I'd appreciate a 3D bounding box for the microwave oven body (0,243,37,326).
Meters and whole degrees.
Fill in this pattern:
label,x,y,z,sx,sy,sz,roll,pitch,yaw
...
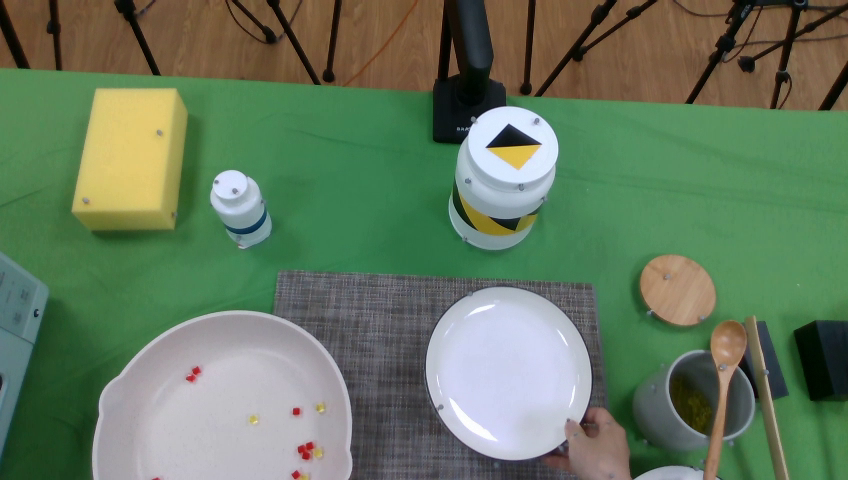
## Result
label,x,y,z,sx,sy,sz,roll,pitch,yaw
microwave oven body,-0.654,0.189,0.603,0.326,0.262,0.438,3,66,-3

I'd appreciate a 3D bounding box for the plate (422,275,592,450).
label,x,y,z,sx,sy,sz,roll,pitch,yaw
plate,0.099,0.146,0.739,0.209,0.038,0.208,2,72,-6

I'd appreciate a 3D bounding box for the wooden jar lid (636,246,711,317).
label,x,y,z,sx,sy,sz,roll,pitch,yaw
wooden jar lid,0.357,0.061,0.873,0.108,0.021,0.107,1,67,-3

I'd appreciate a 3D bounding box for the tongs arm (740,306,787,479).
label,x,y,z,sx,sy,sz,roll,pitch,yaw
tongs arm,0.452,0.272,0.746,0.051,0.026,0.382,-2,76,-7

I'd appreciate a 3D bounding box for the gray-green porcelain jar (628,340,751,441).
label,x,y,z,sx,sy,sz,roll,pitch,yaw
gray-green porcelain jar,0.321,0.191,0.754,0.106,0.127,0.105,2,66,-3

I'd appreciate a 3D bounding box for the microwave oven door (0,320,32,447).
label,x,y,z,sx,sy,sz,roll,pitch,yaw
microwave oven door,-0.510,0.233,0.590,0.039,0.245,0.353,2,66,-2

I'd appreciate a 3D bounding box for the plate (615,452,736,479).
label,x,y,z,sx,sy,sz,roll,pitch,yaw
plate,0.308,0.364,0.726,0.208,0.039,0.206,2,66,-3

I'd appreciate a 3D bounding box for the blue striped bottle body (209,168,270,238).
label,x,y,z,sx,sy,sz,roll,pitch,yaw
blue striped bottle body,-0.251,-0.055,0.823,0.063,0.121,0.062,2,65,-3

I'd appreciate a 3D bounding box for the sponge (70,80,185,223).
label,x,y,z,sx,sy,sz,roll,pitch,yaw
sponge,-0.422,-0.129,0.875,0.118,0.061,0.205,-2,67,-6

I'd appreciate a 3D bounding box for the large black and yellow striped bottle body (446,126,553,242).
label,x,y,z,sx,sy,sz,roll,pitch,yaw
large black and yellow striped bottle body,0.102,-0.090,0.831,0.131,0.185,0.129,2,65,-3

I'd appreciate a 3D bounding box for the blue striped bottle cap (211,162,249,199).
label,x,y,z,sx,sy,sz,roll,pitch,yaw
blue striped bottle cap,-0.249,-0.077,0.776,0.044,0.021,0.044,2,68,-4

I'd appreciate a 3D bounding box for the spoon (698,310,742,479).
label,x,y,z,sx,sy,sz,roll,pitch,yaw
spoon,0.330,0.173,0.686,0.041,0.022,0.192,18,70,1

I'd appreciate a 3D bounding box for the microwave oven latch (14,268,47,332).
label,x,y,z,sx,sy,sz,roll,pitch,yaw
microwave oven latch,-0.508,0.075,0.771,0.030,0.030,0.078,5,66,-2

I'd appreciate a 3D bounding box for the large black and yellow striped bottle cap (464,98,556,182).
label,x,y,z,sx,sy,sz,roll,pitch,yaw
large black and yellow striped bottle cap,0.108,-0.126,0.755,0.115,0.019,0.114,2,67,-3

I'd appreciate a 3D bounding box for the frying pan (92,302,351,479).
label,x,y,z,sx,sy,sz,roll,pitch,yaw
frying pan,-0.263,0.305,0.671,0.306,0.103,0.484,17,59,6
